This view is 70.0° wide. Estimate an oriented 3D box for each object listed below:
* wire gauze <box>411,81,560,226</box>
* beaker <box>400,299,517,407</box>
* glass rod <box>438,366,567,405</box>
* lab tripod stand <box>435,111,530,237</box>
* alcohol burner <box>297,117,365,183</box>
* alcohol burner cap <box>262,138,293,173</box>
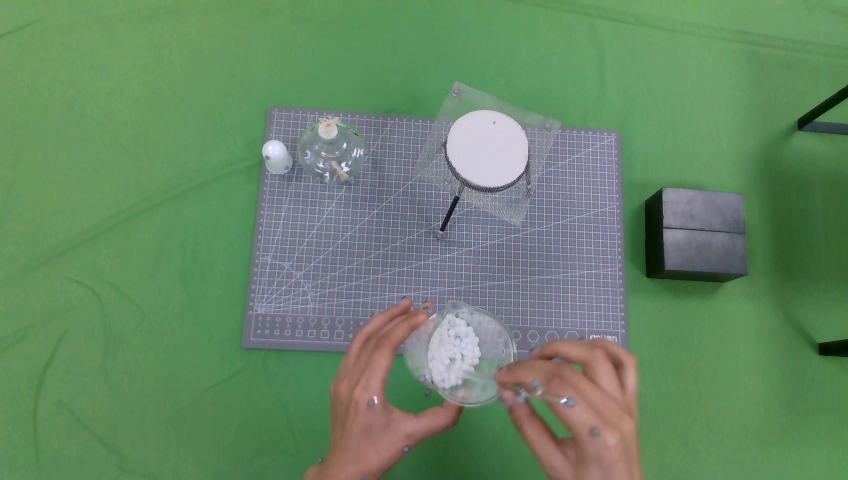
[{"bbox_3d":[0.064,-0.093,0.623,0.125,0.011,0.121,25,76,1],"label":"wire gauze"},{"bbox_3d":[0.022,0.091,0.504,0.074,0.100,0.084,-19,87,-16],"label":"beaker"},{"bbox_3d":[0.048,0.104,0.448,0.008,0.199,0.008,2,83,-20],"label":"glass rod"},{"bbox_3d":[0.063,-0.078,0.688,0.148,0.132,0.147,2,74,-5],"label":"lab tripod stand"},{"bbox_3d":[-0.107,-0.109,0.691,0.078,0.119,0.077,2,75,-6],"label":"alcohol burner"},{"bbox_3d":[-0.176,-0.102,0.720,0.034,0.048,0.033,1,77,-3],"label":"alcohol burner cap"}]
